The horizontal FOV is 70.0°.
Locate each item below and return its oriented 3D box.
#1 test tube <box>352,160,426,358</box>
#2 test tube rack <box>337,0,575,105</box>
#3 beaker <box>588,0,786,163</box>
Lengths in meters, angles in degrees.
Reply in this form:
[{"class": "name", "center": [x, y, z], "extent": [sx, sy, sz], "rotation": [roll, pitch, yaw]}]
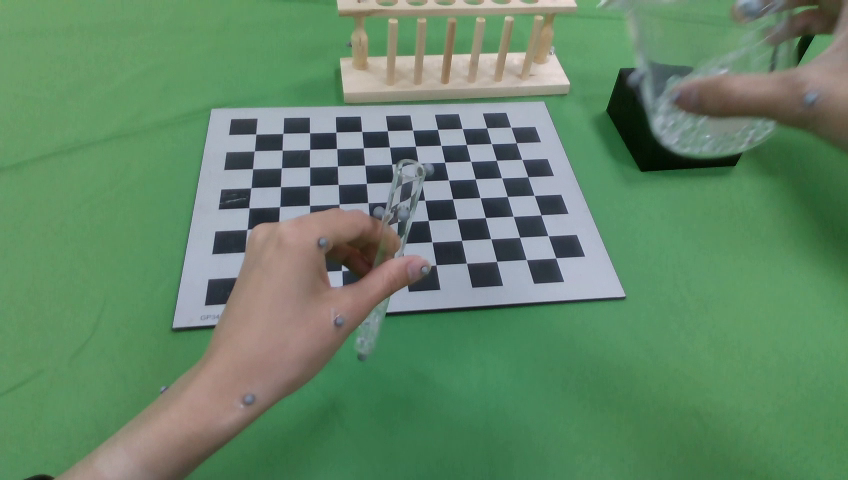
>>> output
[{"class": "test tube", "center": [-0.023, 0.019, 0.342], "extent": [0.017, 0.151, 0.017], "rotation": [10, 42, -9]}, {"class": "test tube rack", "center": [0.034, -0.201, 0.635], "extent": [0.243, 0.086, 0.066], "rotation": [-4, 49, -8]}, {"class": "beaker", "center": [0.132, -0.093, 0.294], "extent": [0.084, 0.101, 0.073], "rotation": [-23, 44, 15]}]
